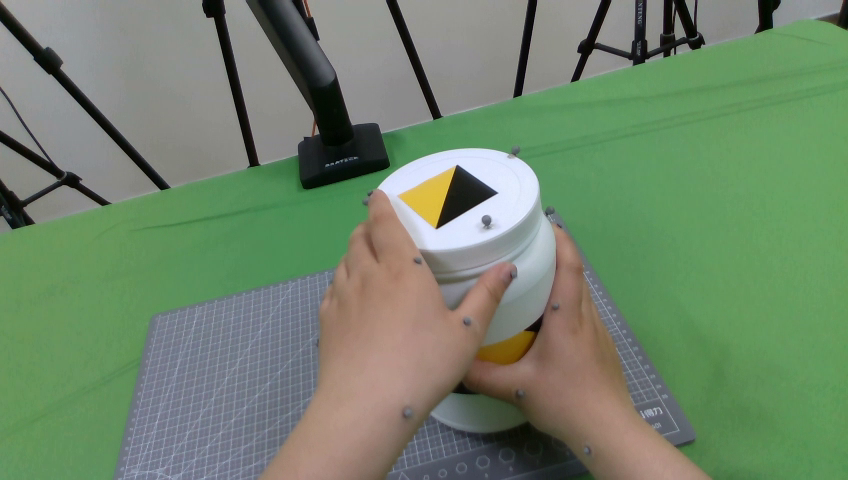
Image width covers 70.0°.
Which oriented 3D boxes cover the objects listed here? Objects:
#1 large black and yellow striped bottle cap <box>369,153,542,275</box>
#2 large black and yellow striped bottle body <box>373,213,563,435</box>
[{"bbox_3d":[0.020,-0.021,0.403,0.115,0.019,0.114,-9,37,7],"label":"large black and yellow striped bottle cap"},{"bbox_3d":[0.036,0.043,0.456,0.130,0.186,0.129,-8,39,7],"label":"large black and yellow striped bottle body"}]
